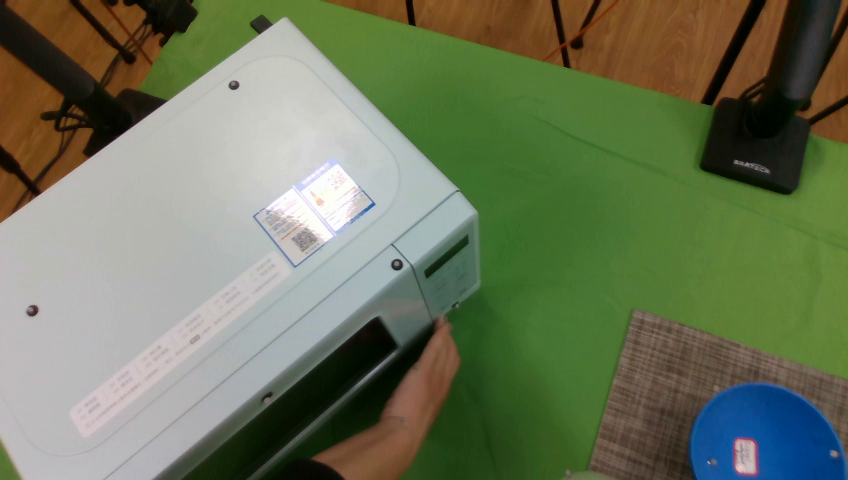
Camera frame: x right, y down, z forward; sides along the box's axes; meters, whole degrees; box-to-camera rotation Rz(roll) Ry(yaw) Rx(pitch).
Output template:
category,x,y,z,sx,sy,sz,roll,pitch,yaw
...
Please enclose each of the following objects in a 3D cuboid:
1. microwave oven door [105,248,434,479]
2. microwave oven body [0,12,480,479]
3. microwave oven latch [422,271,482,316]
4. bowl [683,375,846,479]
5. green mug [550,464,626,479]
category,x,y,z,sx,sy,sz,roll,pitch,yaw
microwave oven door,-0.144,0.162,0.608,0.355,0.245,0.039,-40,70,-9
microwave oven body,-0.206,0.036,0.665,0.441,0.262,0.324,-40,72,-9
microwave oven latch,0.033,0.058,0.738,0.079,0.030,0.030,-34,71,-7
bowl,0.344,0.224,0.641,0.151,0.077,0.150,-2,69,5
green mug,0.166,0.264,0.546,0.092,0.105,0.124,-41,75,-12
